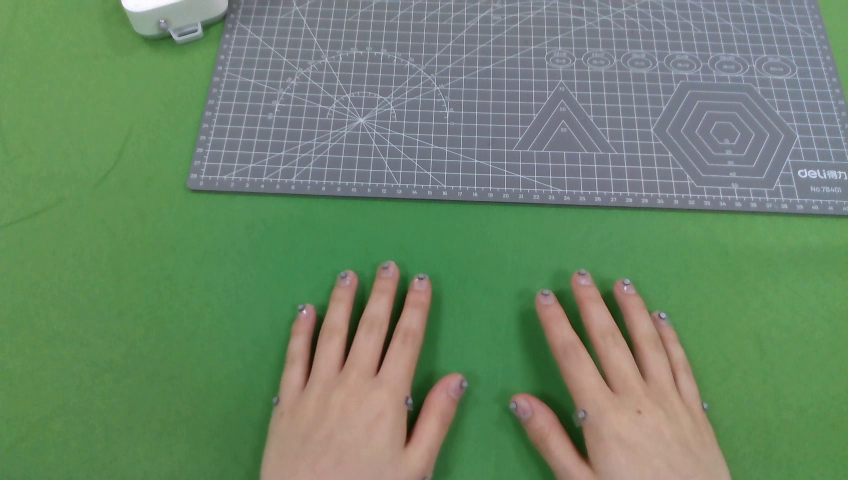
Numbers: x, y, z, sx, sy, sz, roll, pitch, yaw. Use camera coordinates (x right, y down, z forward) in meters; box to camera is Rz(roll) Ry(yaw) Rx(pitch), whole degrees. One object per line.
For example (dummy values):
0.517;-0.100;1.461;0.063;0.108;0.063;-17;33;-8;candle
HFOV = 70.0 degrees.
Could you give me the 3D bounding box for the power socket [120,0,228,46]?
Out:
-0.215;-0.248;0.479;0.072;0.033;0.225;-19;67;-10;power socket
